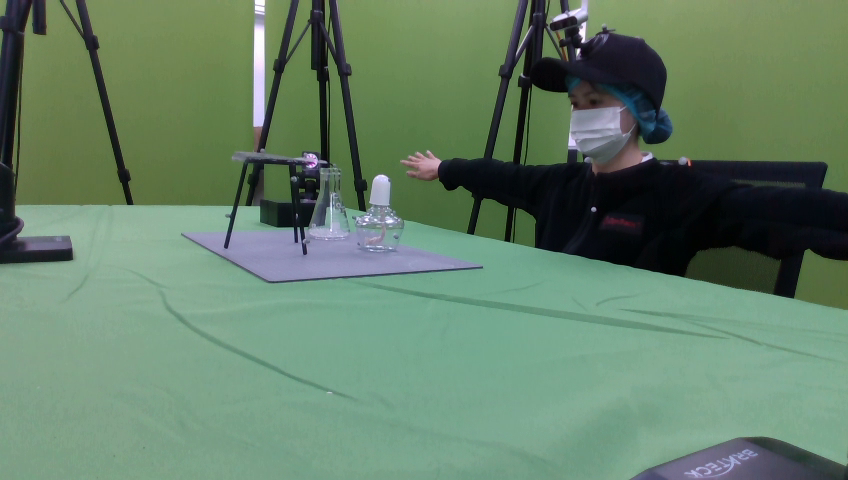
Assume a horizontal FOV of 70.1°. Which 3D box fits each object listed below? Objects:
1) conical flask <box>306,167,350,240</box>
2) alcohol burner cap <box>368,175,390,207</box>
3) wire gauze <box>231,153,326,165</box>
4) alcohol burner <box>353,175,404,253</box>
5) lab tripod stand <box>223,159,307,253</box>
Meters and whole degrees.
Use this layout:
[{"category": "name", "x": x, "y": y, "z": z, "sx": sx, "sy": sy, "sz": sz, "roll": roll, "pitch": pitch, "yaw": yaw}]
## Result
[{"category": "conical flask", "x": -0.164, "y": -0.063, "z": 1.042, "sx": 0.075, "sy": 0.122, "sz": 0.075, "roll": 3, "pitch": 7, "yaw": 0}, {"category": "alcohol burner cap", "x": -0.067, "y": -0.075, "z": 0.923, "sx": 0.034, "sy": 0.048, "sz": 0.034, "roll": 8, "pitch": 11, "yaw": -1}, {"category": "wire gauze", "x": -0.215, "y": -0.118, "z": 0.881, "sx": 0.125, "sy": 0.011, "sz": 0.121, "roll": 1, "pitch": 7, "yaw": -19}, {"category": "alcohol burner", "x": -0.070, "y": -0.040, "z": 0.926, "sx": 0.078, "sy": 0.119, "sz": 0.078, "roll": 1, "pitch": 9, "yaw": 0}, {"category": "lab tripod stand", "x": -0.220, "y": -0.053, "z": 0.896, "sx": 0.148, "sy": 0.131, "sz": 0.148, "roll": 1, "pitch": 6, "yaw": 0}]
